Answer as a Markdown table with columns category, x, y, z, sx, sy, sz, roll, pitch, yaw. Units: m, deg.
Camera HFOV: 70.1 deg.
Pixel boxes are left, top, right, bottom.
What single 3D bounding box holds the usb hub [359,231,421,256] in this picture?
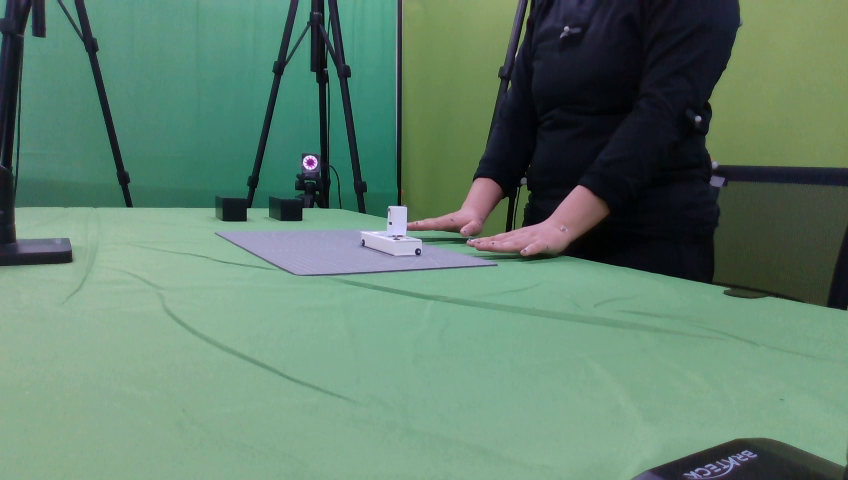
| category | x | y | z | sx | sy | sz | roll | pitch | yaw |
| --- | --- | --- | --- | --- | --- | --- | --- | --- | --- |
| usb hub | -0.056 | 0.004 | 0.954 | 0.050 | 0.025 | 0.124 | -2 | 8 | -31 |

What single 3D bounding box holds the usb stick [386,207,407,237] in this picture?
| category | x | y | z | sx | sy | sz | roll | pitch | yaw |
| --- | --- | --- | --- | --- | --- | --- | --- | --- | --- |
| usb stick | -0.043 | -0.022 | 0.938 | 0.027 | 0.059 | 0.021 | -5 | 11 | -34 |
